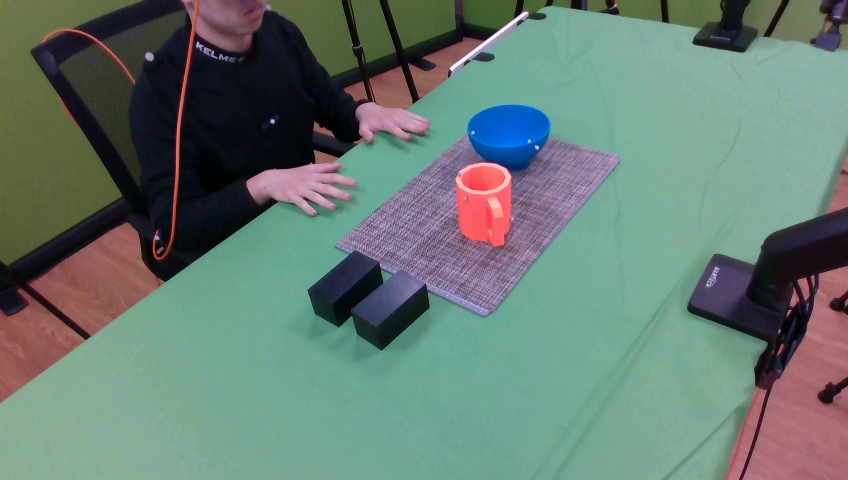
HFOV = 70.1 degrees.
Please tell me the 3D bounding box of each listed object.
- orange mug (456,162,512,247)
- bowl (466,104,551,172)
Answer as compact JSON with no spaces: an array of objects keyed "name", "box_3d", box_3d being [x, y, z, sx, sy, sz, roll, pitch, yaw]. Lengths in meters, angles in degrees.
[{"name":"orange mug","box_3d":[0.100,-0.050,0.949,0.083,0.101,0.125,-13,37,-6]},{"name":"bowl","box_3d":[0.155,-0.177,1.105,0.151,0.077,0.150,-4,40,4]}]
